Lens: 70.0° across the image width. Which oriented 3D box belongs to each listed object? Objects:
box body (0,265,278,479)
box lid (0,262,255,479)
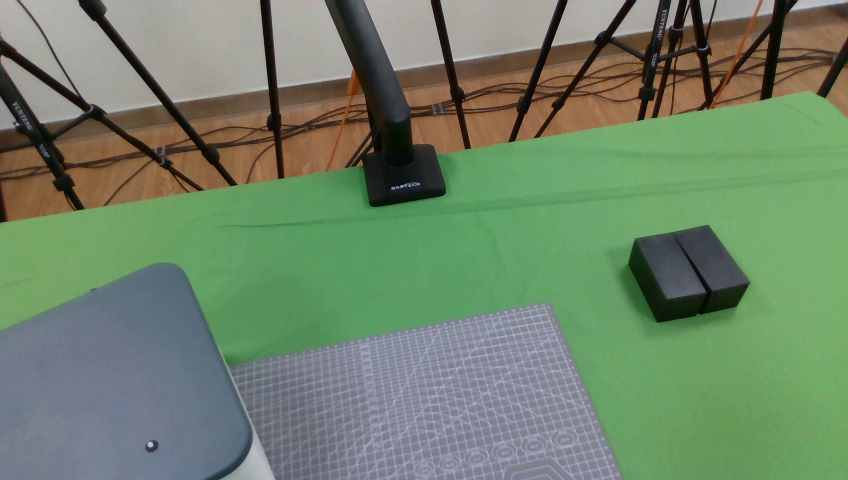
[{"bbox_3d":[-0.353,0.223,0.588,0.364,0.162,0.251,-26,52,-17],"label":"box body"},{"bbox_3d":[-0.356,0.173,0.532,0.372,0.015,0.260,-26,52,-18],"label":"box lid"}]
